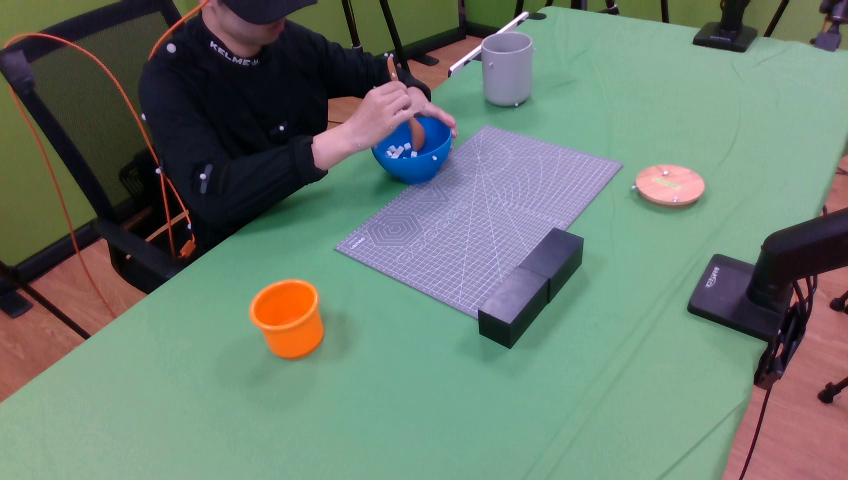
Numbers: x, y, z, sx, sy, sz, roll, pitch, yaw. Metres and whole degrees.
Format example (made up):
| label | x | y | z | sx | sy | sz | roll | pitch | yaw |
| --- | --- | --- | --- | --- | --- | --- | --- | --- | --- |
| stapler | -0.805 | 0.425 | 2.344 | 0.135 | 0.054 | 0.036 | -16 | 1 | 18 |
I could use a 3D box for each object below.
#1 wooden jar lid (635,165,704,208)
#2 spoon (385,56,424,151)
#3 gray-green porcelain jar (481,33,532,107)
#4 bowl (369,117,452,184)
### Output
| label | x | y | z | sx | sy | sz | roll | pitch | yaw |
| --- | --- | --- | --- | --- | --- | --- | --- | --- | --- |
| wooden jar lid | 0.410 | -0.089 | 1.014 | 0.108 | 0.021 | 0.108 | -5 | 42 | 5 |
| spoon | -0.036 | -0.239 | 1.075 | 0.021 | 0.195 | 0.041 | 14 | 54 | 37 |
| gray-green porcelain jar | 0.175 | -0.355 | 1.278 | 0.106 | 0.127 | 0.105 | -4 | 41 | 4 |
| bowl | -0.019 | -0.156 | 1.107 | 0.151 | 0.077 | 0.150 | -6 | 38 | 5 |
